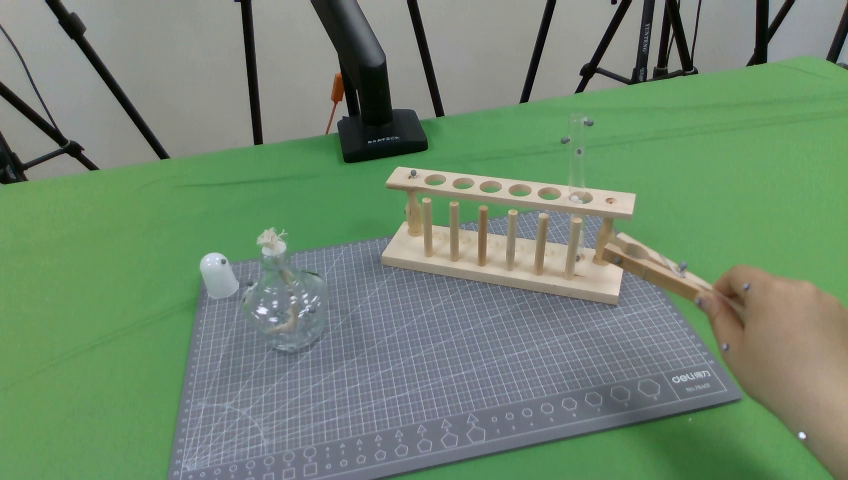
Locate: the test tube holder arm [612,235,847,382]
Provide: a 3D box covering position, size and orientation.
[{"bbox_3d":[0.214,0.045,0.443,0.013,0.015,0.176,-35,51,-26],"label":"test tube holder arm"}]

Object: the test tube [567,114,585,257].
[{"bbox_3d":[0.143,-0.046,0.567,0.017,0.151,0.017,-7,35,5],"label":"test tube"}]

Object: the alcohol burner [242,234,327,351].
[{"bbox_3d":[-0.127,0.042,0.542,0.078,0.120,0.077,-2,38,2],"label":"alcohol burner"}]

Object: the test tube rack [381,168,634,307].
[{"bbox_3d":[0.076,-0.007,0.606,0.241,0.086,0.066,9,40,18],"label":"test tube rack"}]

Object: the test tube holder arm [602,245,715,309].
[{"bbox_3d":[0.179,0.028,0.464,0.087,0.015,0.010,26,52,28],"label":"test tube holder arm"}]

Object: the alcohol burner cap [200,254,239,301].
[{"bbox_3d":[-0.211,0.035,0.622,0.034,0.048,0.033,-2,38,2],"label":"alcohol burner cap"}]
